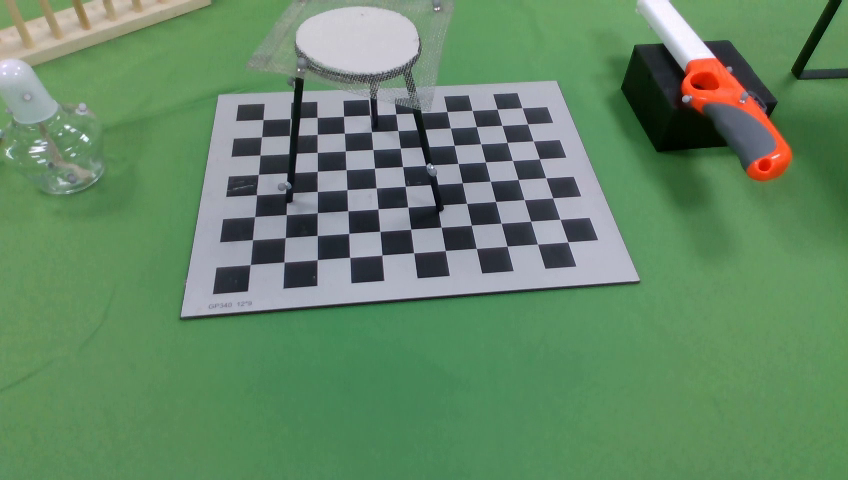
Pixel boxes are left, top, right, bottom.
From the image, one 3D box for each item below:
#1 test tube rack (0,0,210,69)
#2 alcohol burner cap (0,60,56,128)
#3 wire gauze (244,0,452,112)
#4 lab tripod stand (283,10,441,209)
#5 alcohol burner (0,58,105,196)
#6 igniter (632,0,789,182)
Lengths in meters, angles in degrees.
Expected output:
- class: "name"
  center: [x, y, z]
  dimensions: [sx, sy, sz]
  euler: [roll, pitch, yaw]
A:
- class: "test tube rack"
  center: [-0.362, -0.261, 0.638]
  dimensions: [0.242, 0.086, 0.066]
  euler: [-32, 59, -26]
- class: "alcohol burner cap"
  center: [-0.305, -0.112, 0.456]
  dimensions: [0.034, 0.048, 0.033]
  euler: [-1, 50, 1]
- class: "wire gauze"
  center: [-0.047, -0.139, 0.424]
  dimensions: [0.125, 0.011, 0.120]
  euler: [10, 50, 4]
- class: "lab tripod stand"
  center: [-0.046, -0.098, 0.478]
  dimensions: [0.148, 0.132, 0.147]
  euler: [2, 49, -2]
- class: "alcohol burner"
  center: [-0.304, -0.092, 0.480]
  dimensions: [0.078, 0.120, 0.077]
  euler: [0, 51, 0]
- class: "igniter"
  center: [0.250, -0.149, 0.547]
  dimensions: [0.057, 0.025, 0.273]
  euler: [-6, 49, -3]
